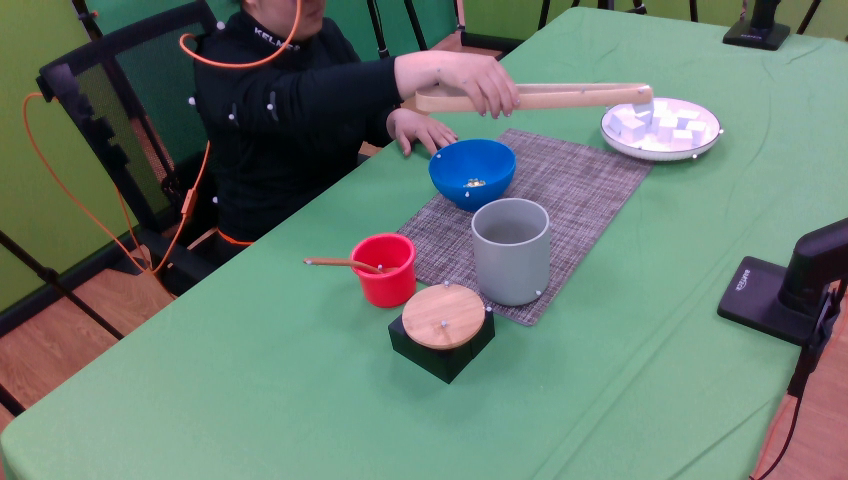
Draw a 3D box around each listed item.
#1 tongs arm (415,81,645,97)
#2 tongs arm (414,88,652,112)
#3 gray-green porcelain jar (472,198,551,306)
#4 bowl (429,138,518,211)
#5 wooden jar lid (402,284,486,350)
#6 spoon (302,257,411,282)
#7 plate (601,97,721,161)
[{"bbox_3d":[0.176,-0.247,1.010,0.388,0.028,0.028,-2,38,-2],"label":"tongs arm"},{"bbox_3d":[0.177,-0.234,0.990,0.386,0.026,0.050,-4,35,-5],"label":"tongs arm"},{"bbox_3d":[0.125,0.021,0.850,0.106,0.127,0.105,-6,40,5],"label":"gray-green porcelain jar"},{"bbox_3d":[0.087,-0.104,1.043,0.151,0.077,0.150,-5,40,5],"label":"bowl"},{"bbox_3d":[0.026,0.101,0.786,0.108,0.021,0.108,-5,39,4],"label":"wooden jar lid"},{"bbox_3d":[-0.092,0.038,0.865,0.195,0.021,0.041,16,15,-46],"label":"spoon"},{"bbox_3d":[0.437,-0.202,1.126,0.209,0.038,0.208,-5,39,5],"label":"plate"}]
